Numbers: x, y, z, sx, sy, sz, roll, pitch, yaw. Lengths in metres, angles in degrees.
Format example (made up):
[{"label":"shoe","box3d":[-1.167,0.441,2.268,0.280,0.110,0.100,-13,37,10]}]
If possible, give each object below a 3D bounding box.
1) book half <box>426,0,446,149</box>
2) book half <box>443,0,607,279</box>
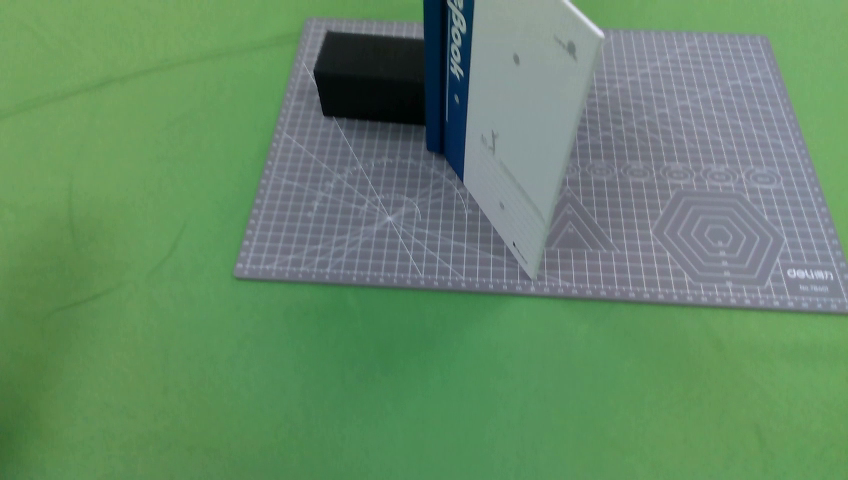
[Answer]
[{"label":"book half","box3d":[0.025,-0.192,0.459,0.016,0.212,0.147,12,58,8]},{"label":"book half","box3d":[0.047,-0.081,0.386,0.007,0.212,0.142,-23,59,-15]}]
